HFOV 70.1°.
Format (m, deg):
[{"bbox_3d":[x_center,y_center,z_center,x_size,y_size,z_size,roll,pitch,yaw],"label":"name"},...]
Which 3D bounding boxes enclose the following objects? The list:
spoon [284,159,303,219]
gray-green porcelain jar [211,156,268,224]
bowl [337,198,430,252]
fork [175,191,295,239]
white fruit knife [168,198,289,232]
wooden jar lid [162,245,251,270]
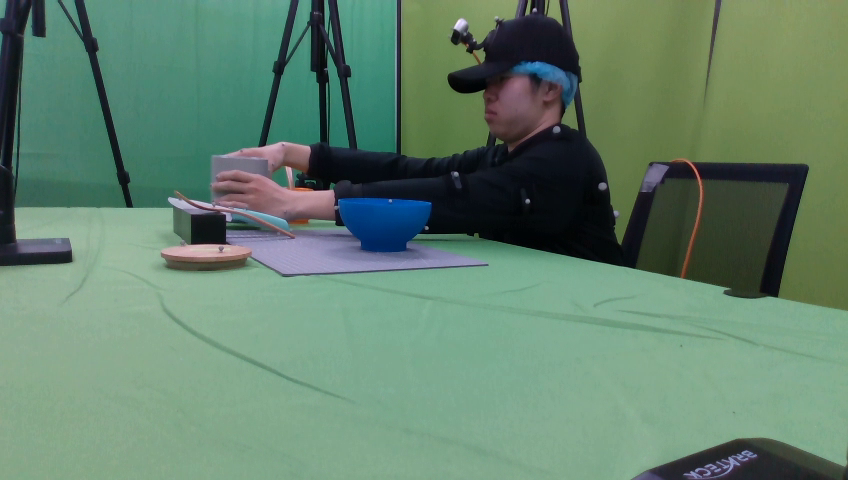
[{"bbox_3d":[-0.302,-0.118,1.370,0.042,0.193,0.021,4,-39,-24],"label":"spoon"},{"bbox_3d":[-0.363,-0.099,1.191,0.106,0.126,0.106,3,8,0],"label":"gray-green porcelain jar"},{"bbox_3d":[-0.066,-0.024,0.967,0.151,0.077,0.151,3,7,0],"label":"bowl"},{"bbox_3d":[-0.306,-0.039,0.993,0.208,0.018,0.028,19,-9,-34],"label":"fork"},{"bbox_3d":[-0.329,-0.044,1.036,0.208,0.027,0.016,14,0,-32],"label":"white fruit knife"},{"bbox_3d":[-0.278,0.022,0.777,0.108,0.020,0.108,2,6,0],"label":"wooden jar lid"}]
